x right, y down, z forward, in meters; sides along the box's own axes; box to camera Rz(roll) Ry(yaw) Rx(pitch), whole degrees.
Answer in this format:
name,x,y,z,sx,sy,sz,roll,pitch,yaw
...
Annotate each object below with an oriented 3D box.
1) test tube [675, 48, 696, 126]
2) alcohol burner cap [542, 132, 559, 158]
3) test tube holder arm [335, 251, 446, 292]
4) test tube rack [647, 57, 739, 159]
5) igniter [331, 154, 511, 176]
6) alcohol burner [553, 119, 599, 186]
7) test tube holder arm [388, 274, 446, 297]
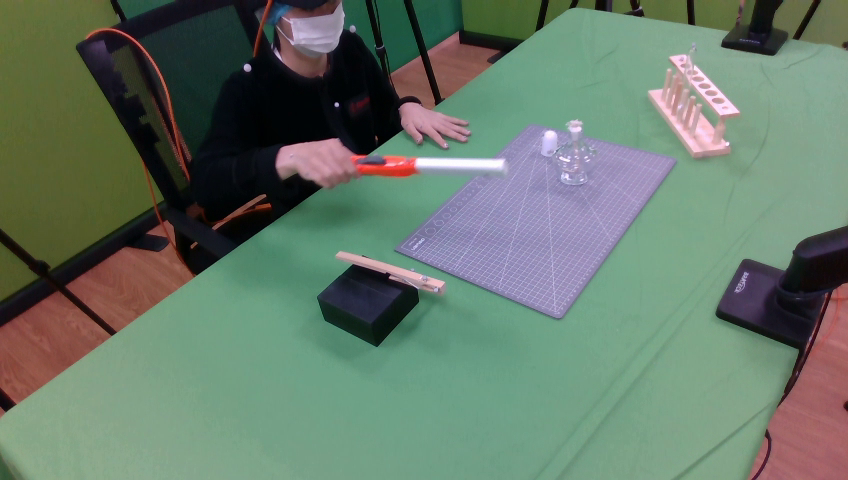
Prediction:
name,x,y,z,sx,sy,sz,roll,pitch,yaw
test tube,0.481,-0.279,1.112,0.017,0.151,0.017,-5,40,5
alcohol burner cap,0.237,-0.180,1.134,0.034,0.048,0.033,-5,41,5
test tube holder arm,-0.050,0.043,0.853,0.177,0.013,0.015,17,40,24
test tube rack,0.504,-0.257,1.153,0.067,0.085,0.241,-8,40,1
igniter,-0.013,-0.108,0.869,0.275,0.057,0.025,2,72,19
alcohol burner,0.261,-0.153,1.042,0.078,0.119,0.077,-6,40,6
test tube holder arm,-0.010,0.060,0.838,0.087,0.010,0.015,17,41,24
